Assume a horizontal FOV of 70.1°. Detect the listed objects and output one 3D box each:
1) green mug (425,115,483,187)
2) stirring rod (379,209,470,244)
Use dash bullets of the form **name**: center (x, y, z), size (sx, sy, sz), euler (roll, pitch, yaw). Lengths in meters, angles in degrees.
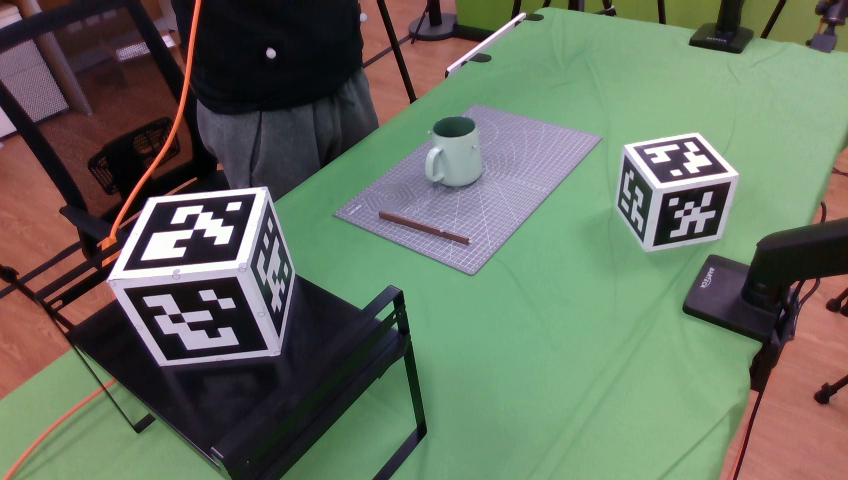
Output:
- **green mug**: center (0.047, -0.148, 1.068), size (0.092, 0.105, 0.125), euler (24, 50, 31)
- **stirring rod**: center (-0.002, -0.023, 0.996), size (0.175, 0.014, 0.006), euler (19, 53, 26)
